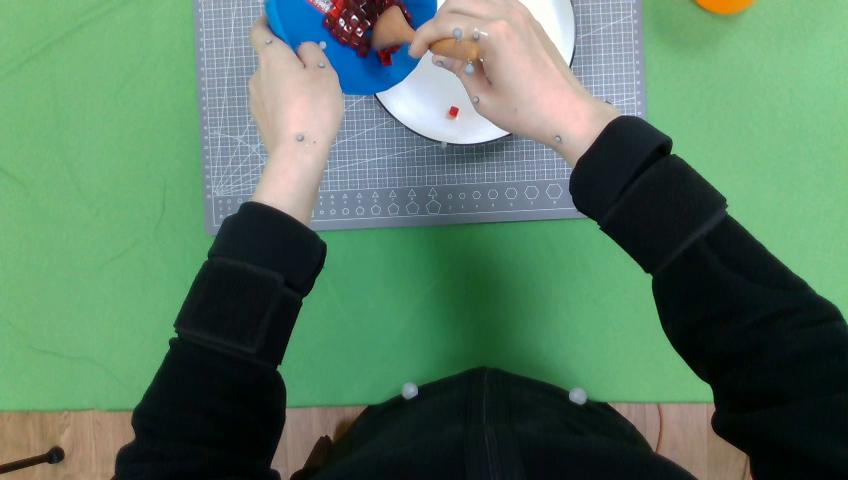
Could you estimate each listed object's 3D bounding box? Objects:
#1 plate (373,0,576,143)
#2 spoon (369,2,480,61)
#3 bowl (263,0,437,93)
[{"bbox_3d":[0.041,-0.197,0.589,0.209,0.038,0.209,0,91,3],"label":"plate"},{"bbox_3d":[-0.003,-0.151,0.448,0.022,0.191,0.041,26,99,-35],"label":"spoon"},{"bbox_3d":[-0.071,-0.201,0.496,0.152,0.076,0.152,-15,116,-34],"label":"bowl"}]
